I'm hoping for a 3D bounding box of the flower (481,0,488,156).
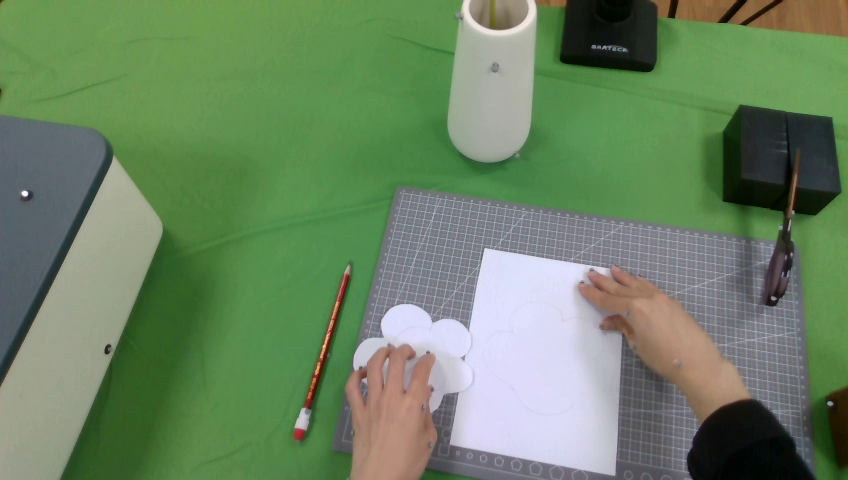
[{"bbox_3d":[0.059,-0.226,0.580,0.044,0.365,0.038,2,47,7],"label":"flower"}]

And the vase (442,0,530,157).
[{"bbox_3d":[0.066,-0.177,0.649,0.098,0.201,0.097,-1,63,3],"label":"vase"}]

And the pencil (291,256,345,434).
[{"bbox_3d":[-0.106,0.102,0.627,0.012,0.012,0.192,9,64,7],"label":"pencil"}]

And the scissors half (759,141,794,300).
[{"bbox_3d":[0.371,-0.022,0.634,0.012,0.040,0.175,12,83,24],"label":"scissors half"}]

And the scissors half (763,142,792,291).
[{"bbox_3d":[0.365,-0.029,0.616,0.013,0.040,0.174,13,66,19],"label":"scissors half"}]

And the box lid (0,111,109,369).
[{"bbox_3d":[-0.445,0.038,0.498,0.263,0.015,0.369,9,65,5],"label":"box lid"}]

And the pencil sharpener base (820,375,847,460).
[{"bbox_3d":[0.410,0.157,0.531,0.061,0.108,0.076,5,65,4],"label":"pencil sharpener base"}]

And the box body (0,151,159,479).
[{"bbox_3d":[-0.443,0.073,0.565,0.254,0.161,0.361,9,65,6],"label":"box body"}]
